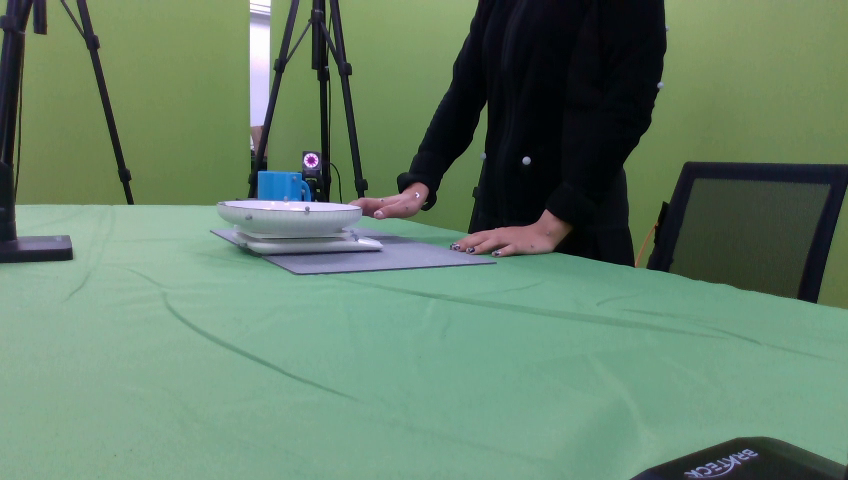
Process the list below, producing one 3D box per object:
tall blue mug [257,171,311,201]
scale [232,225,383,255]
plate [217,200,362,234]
[{"bbox_3d":[-0.259,-0.070,1.107,0.078,0.108,0.107,2,7,5],"label":"tall blue mug"},{"bbox_3d":[-0.177,-0.004,0.920,0.202,0.031,0.148,-1,9,-30],"label":"scale"},{"bbox_3d":[-0.196,-0.035,0.894,0.209,0.038,0.209,2,7,0],"label":"plate"}]
